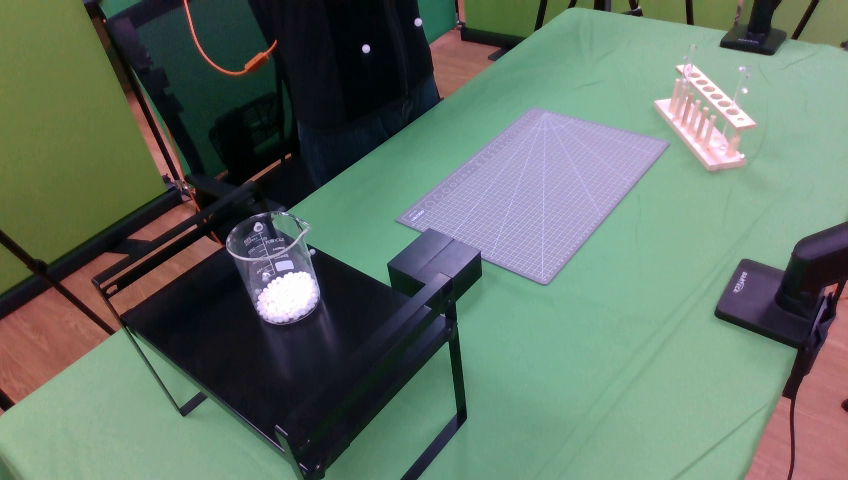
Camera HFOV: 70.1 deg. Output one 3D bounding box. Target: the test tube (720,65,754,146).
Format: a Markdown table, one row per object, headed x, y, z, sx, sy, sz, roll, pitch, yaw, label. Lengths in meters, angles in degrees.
| x | y | z | sx | sy | sz | roll | pitch | yaw | label |
| --- | --- | --- | --- | --- | --- | --- | --- | --- | --- |
| 0.533 | -0.226 | 1.032 | 0.017 | 0.151 | 0.017 | -1 | 40 | 2 | test tube |

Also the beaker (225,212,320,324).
| x | y | z | sx | sy | sz | roll | pitch | yaw | label |
| --- | --- | --- | --- | --- | --- | --- | --- | --- | --- |
| -0.149 | 0.031 | 0.625 | 0.084 | 0.101 | 0.073 | -18 | 42 | -13 | beaker |

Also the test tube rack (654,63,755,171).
| x | y | z | sx | sy | sz | roll | pitch | yaw | label |
| --- | --- | --- | --- | --- | --- | --- | --- | --- | --- |
| 0.510 | -0.233 | 1.120 | 0.067 | 0.085 | 0.241 | -8 | 41 | -1 | test tube rack |

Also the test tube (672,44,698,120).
| x | y | z | sx | sy | sz | roll | pitch | yaw | label |
| --- | --- | --- | --- | --- | --- | --- | --- | --- | --- |
| 0.484 | -0.291 | 1.122 | 0.017 | 0.151 | 0.017 | -2 | 41 | 2 | test tube |
